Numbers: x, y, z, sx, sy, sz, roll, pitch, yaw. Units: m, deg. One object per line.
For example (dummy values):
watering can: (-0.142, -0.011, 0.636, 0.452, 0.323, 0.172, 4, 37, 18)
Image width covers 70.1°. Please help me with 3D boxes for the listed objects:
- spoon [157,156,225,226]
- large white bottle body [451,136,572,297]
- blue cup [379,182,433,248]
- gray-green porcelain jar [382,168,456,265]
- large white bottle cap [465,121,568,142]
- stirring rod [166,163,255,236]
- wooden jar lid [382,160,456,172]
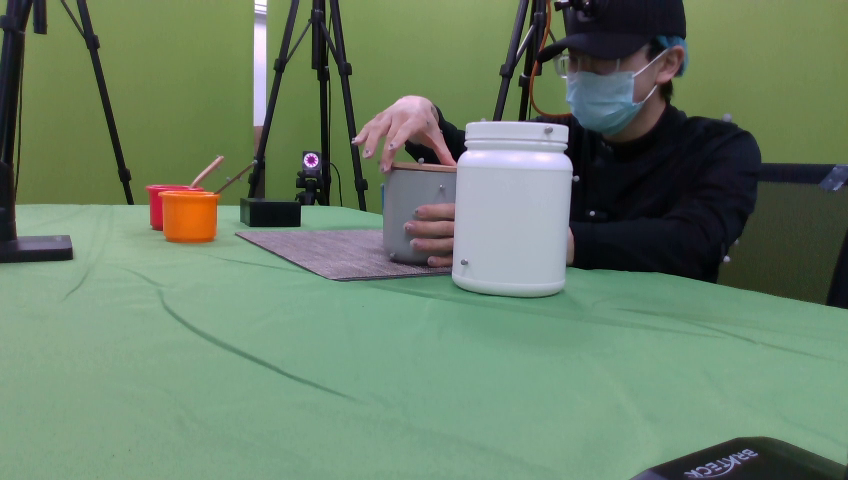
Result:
spoon: (-0.425, -0.094, 1.118, 0.041, 0.022, 0.194, 3, 50, 30)
large white bottle body: (0.099, -0.037, 0.688, 0.131, 0.184, 0.130, 2, 7, 0)
blue cup: (-0.030, -0.041, 0.979, 0.093, 0.100, 0.092, 2, 9, 0)
gray-green porcelain jar: (-0.005, -0.034, 0.834, 0.106, 0.126, 0.106, 3, 7, 0)
large white bottle cap: (0.103, -0.120, 0.677, 0.115, 0.018, 0.115, 2, 7, 0)
stirring rod: (-0.341, -0.066, 0.967, 0.176, 0.006, 0.014, -42, 23, -9)
wooden jar lid: (-0.003, -0.095, 0.827, 0.108, 0.020, 0.108, 4, 10, 0)
